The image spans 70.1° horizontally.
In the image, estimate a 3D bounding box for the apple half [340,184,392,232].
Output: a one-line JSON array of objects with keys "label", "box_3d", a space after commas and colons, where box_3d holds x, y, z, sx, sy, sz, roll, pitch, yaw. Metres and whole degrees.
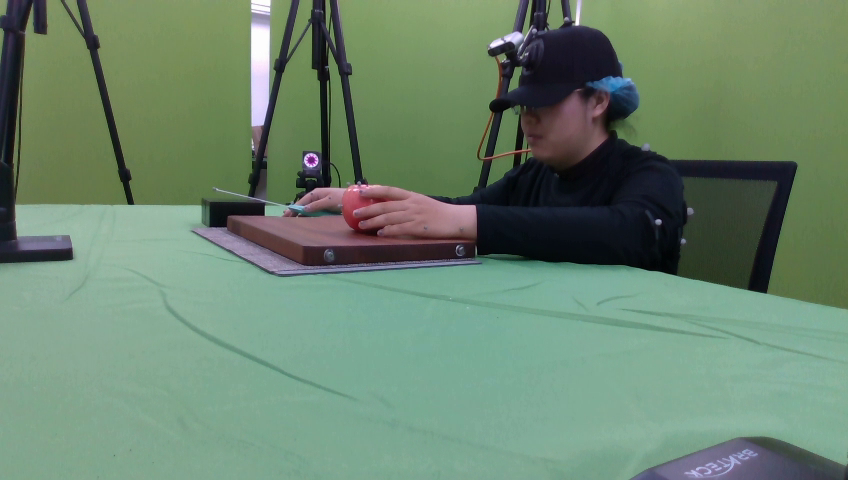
[{"label": "apple half", "box_3d": [-0.084, -0.048, 0.936, 0.081, 0.074, 0.053, 1, 12, -32]}]

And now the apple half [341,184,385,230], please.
[{"label": "apple half", "box_3d": [-0.104, -0.055, 0.969, 0.082, 0.081, 0.032, -2, 13, -32]}]

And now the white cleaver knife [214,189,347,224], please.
[{"label": "white cleaver knife", "box_3d": [-0.281, -0.065, 1.227, 0.288, 0.021, 0.065, 12, 9, -29]}]
